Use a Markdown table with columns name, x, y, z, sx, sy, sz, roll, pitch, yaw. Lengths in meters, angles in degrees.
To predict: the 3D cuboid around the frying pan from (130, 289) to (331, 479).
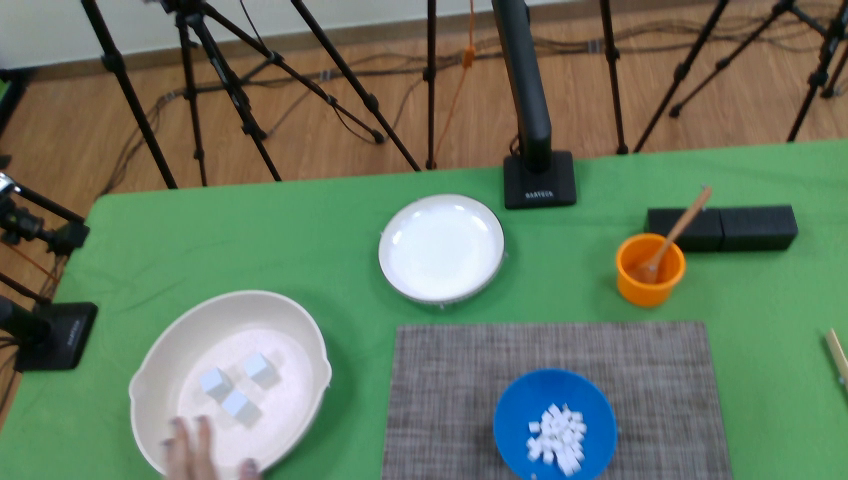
| name | x | y | z | sx | sy | sz | roll | pitch | yaw |
| --- | --- | --- | --- | --- | --- | --- | --- | --- | --- |
| frying pan | -0.282 | 0.293 | 0.830 | 0.306 | 0.104 | 0.483 | -5 | 49 | 10 |

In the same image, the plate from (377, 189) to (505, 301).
| name | x | y | z | sx | sy | sz | roll | pitch | yaw |
| --- | --- | --- | --- | --- | --- | --- | --- | --- | --- |
| plate | 0.029 | 0.010 | 0.985 | 0.207 | 0.039 | 0.205 | -5 | 58 | 9 |

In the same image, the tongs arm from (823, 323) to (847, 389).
| name | x | y | z | sx | sy | sz | roll | pitch | yaw |
| --- | --- | --- | --- | --- | --- | --- | --- | --- | --- |
| tongs arm | 0.564 | 0.276 | 0.716 | 0.028 | 0.028 | 0.383 | -9 | 57 | 4 |

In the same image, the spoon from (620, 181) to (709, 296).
| name | x | y | z | sx | sy | sz | roll | pitch | yaw |
| --- | --- | --- | --- | --- | --- | --- | --- | --- | --- |
| spoon | 0.343 | 0.000 | 0.861 | 0.022 | 0.194 | 0.041 | -2 | 38 | -45 |

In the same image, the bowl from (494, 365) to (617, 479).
| name | x | y | z | sx | sy | sz | roll | pitch | yaw |
| --- | --- | --- | --- | --- | --- | --- | --- | --- | --- |
| bowl | 0.167 | 0.245 | 0.780 | 0.151 | 0.077 | 0.150 | -5 | 58 | 8 |
